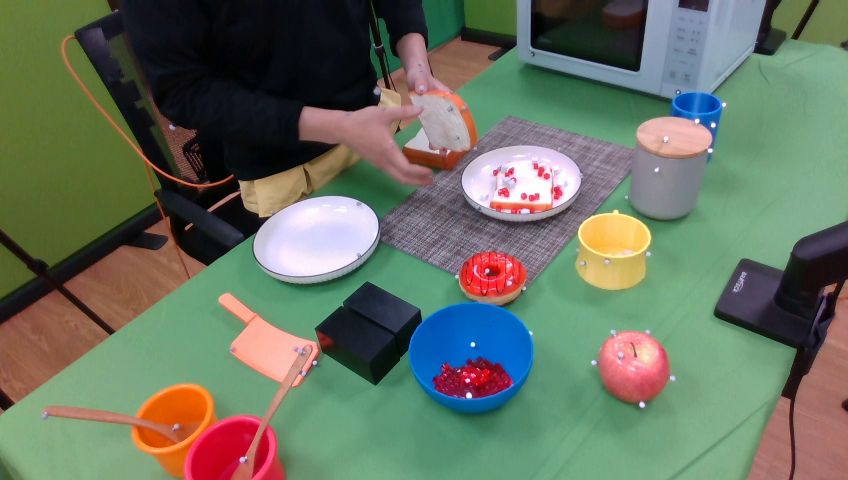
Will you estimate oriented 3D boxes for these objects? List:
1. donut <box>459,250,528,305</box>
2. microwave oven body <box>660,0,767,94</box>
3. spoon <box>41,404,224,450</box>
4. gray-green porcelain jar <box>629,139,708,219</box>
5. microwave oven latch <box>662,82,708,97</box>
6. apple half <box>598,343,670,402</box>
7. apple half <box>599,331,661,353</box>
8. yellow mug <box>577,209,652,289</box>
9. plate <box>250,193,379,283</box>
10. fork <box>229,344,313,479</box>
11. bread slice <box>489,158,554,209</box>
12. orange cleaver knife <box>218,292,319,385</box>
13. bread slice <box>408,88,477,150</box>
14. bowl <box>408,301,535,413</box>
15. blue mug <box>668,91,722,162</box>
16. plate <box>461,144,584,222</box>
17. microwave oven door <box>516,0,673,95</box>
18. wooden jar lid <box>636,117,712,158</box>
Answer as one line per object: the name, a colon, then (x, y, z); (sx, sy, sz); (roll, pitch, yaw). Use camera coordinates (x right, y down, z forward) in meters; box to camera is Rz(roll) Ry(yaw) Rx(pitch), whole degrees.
donut: (0.100, 0.053, 0.873); (0.099, 0.048, 0.098); (-4, 40, 4)
microwave oven body: (0.474, -0.517, 1.313); (0.438, 0.261, 0.327); (26, 51, 34)
spoon: (-0.321, 0.206, 0.681); (0.021, 0.195, 0.041); (-48, 36, 23)
gray-green porcelain jar: (0.383, -0.105, 0.958); (0.106, 0.127, 0.105); (-4, 41, 4)
microwave oven latch: (0.518, -0.298, 1.203); (0.078, 0.029, 0.030); (28, 53, 35)
apple half: (0.247, 0.161, 0.710); (0.081, 0.075, 0.053); (2, 47, 5)
apple half: (0.249, 0.134, 0.738); (0.081, 0.081, 0.032); (-1, 46, 7)
yellow mug: (0.280, 0.005, 0.893); (0.099, 0.064, 0.130); (5, 41, 15)
plate: (-0.174, 0.000, 0.984); (0.209, 0.038, 0.208); (-4, 40, 4)
fork: (-0.173, 0.205, 0.662); (0.028, 0.019, 0.207); (29, 94, 36)
bread slice: (0.172, -0.100, 1.046); (0.104, 0.019, 0.131); (4, 42, 12)
orange cleaver knife: (-0.235, 0.136, 0.850); (0.209, 0.012, 0.077); (25, 56, 30)
bread slice: (0.032, -0.192, 0.947); (0.018, 0.107, 0.133); (-38, 25, -19)
bowl: (0.060, 0.156, 0.739); (0.151, 0.077, 0.150); (-4, 40, 4)
blue mug: (0.474, -0.207, 1.079); (0.082, 0.106, 0.116); (4, 42, 13)
plate: (0.168, -0.095, 1.040); (0.207, 0.039, 0.206); (-4, 41, 4)
microwave oven door: (0.344, -0.458, 1.256); (0.353, 0.245, 0.039); (26, 51, 33)
wooden jar lid: (0.377, -0.151, 0.917); (0.108, 0.021, 0.108); (-2, 42, 3)
